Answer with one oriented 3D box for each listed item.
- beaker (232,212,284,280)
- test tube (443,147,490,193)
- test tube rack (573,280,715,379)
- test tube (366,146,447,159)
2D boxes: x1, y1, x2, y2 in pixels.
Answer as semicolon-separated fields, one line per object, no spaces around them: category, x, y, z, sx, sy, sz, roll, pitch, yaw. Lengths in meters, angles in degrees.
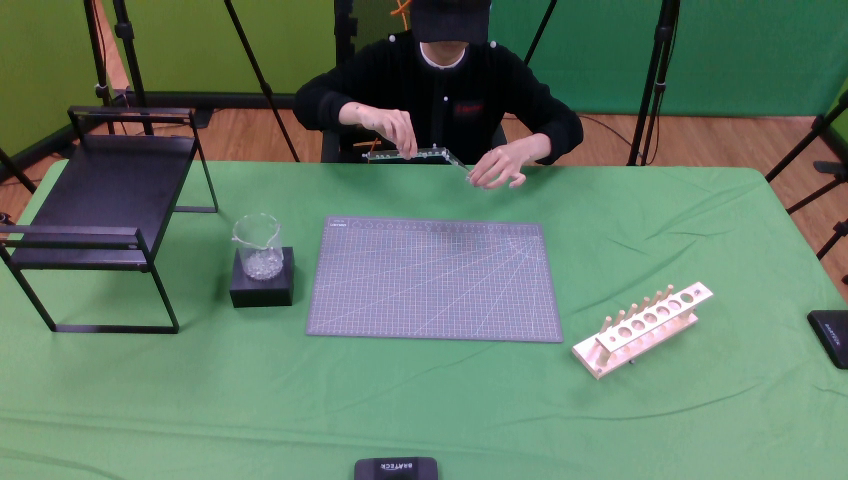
beaker;-0.280;0.016;1.037;0.074;0.101;0.083;-18;50;-20
test tube;0.085;-0.134;1.177;0.017;0.151;0.017;-22;50;29
test tube rack;0.378;0.140;1.038;0.242;0.085;0.066;-22;51;-23
test tube;-0.031;-0.160;1.112;0.150;0.017;0.017;-5;47;-11
